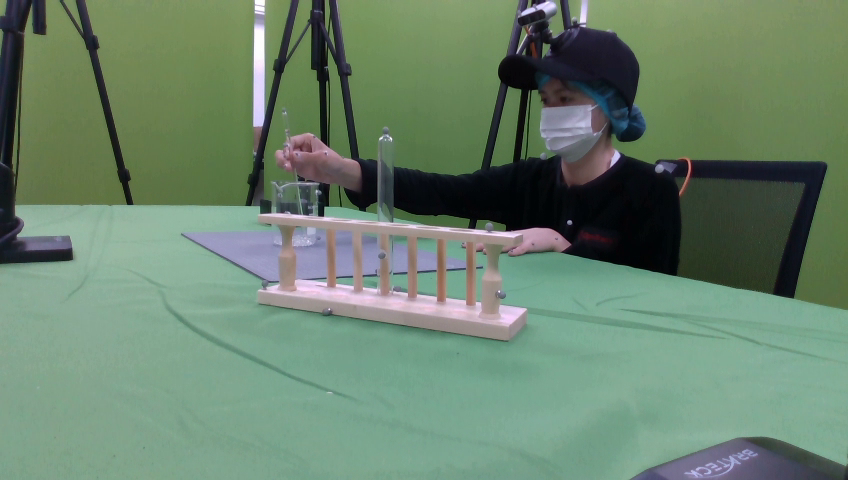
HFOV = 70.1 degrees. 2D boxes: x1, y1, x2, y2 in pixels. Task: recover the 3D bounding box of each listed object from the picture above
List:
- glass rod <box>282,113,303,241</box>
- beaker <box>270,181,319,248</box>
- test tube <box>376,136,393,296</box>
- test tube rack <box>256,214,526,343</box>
[{"bbox_3d":[-0.204,-0.096,0.940,0.008,0.199,0.008,-5,11,1],"label":"glass rod"},{"bbox_3d":[-0.203,-0.040,0.935,0.074,0.100,0.084,5,8,18],"label":"beaker"},{"bbox_3d":[-0.037,-0.021,0.565,0.017,0.150,0.017,1,6,0],"label":"test tube"},{"bbox_3d":[-0.032,0.027,0.547,0.241,0.085,0.067,5,7,22],"label":"test tube rack"}]
